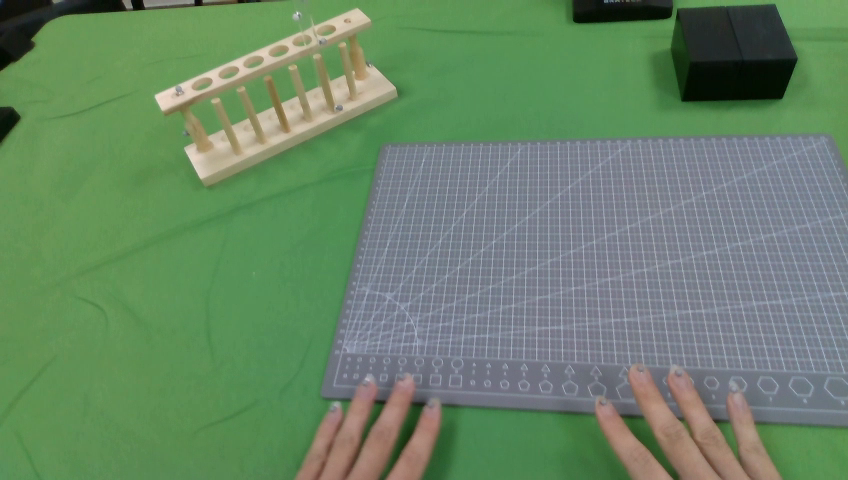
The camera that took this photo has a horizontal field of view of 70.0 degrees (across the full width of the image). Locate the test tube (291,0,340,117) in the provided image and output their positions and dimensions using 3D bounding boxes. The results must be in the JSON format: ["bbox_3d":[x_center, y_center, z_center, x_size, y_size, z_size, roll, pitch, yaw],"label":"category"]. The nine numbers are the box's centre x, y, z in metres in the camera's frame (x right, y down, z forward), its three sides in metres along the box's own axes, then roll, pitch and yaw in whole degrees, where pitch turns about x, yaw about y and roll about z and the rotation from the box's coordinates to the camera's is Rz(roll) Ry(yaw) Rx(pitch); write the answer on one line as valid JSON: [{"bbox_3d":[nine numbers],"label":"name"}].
[{"bbox_3d":[-0.114,-0.195,0.642,0.017,0.152,0.017,-5,47,6],"label":"test tube"}]

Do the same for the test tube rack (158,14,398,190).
[{"bbox_3d":[-0.155,-0.157,0.676,0.242,0.086,0.066,-29,51,-14],"label":"test tube rack"}]
